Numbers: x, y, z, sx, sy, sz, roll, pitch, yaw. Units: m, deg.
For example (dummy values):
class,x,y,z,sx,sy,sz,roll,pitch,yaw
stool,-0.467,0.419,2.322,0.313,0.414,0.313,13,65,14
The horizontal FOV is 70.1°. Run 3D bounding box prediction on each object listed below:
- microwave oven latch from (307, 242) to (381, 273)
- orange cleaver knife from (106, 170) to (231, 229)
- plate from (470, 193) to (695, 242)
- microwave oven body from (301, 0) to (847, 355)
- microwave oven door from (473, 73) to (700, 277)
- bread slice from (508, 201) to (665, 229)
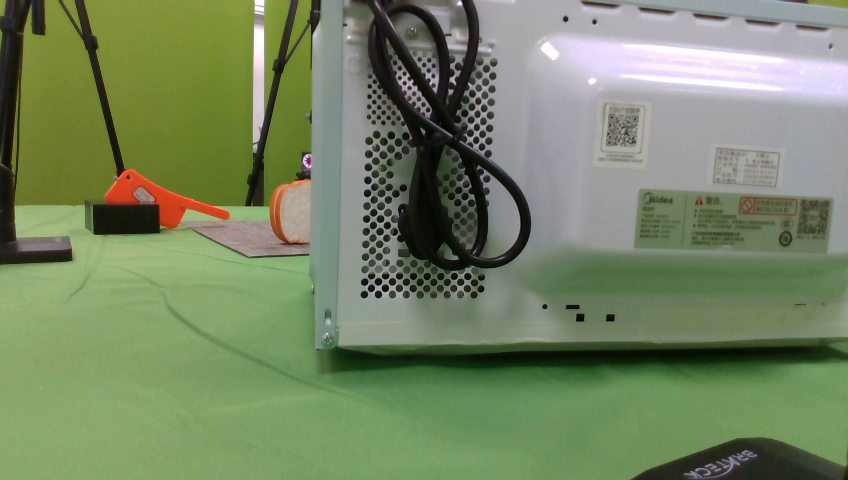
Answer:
class,x,y,z,sx,sy,sz,roll,pitch,yaw
microwave oven latch,-0.086,0.019,0.656,0.079,0.029,0.030,2,7,-10
orange cleaver knife,-0.458,-0.060,1.097,0.212,0.077,0.012,23,-4,-38
plate,0.147,-0.024,0.583,0.208,0.039,0.207,2,5,0
microwave oven body,0.120,-0.053,0.535,0.443,0.260,0.325,2,7,-11
microwave oven door,0.203,-0.096,0.852,0.039,0.243,0.354,-2,9,-36
bread slice,0.166,-0.026,0.598,0.134,0.018,0.107,5,9,29
